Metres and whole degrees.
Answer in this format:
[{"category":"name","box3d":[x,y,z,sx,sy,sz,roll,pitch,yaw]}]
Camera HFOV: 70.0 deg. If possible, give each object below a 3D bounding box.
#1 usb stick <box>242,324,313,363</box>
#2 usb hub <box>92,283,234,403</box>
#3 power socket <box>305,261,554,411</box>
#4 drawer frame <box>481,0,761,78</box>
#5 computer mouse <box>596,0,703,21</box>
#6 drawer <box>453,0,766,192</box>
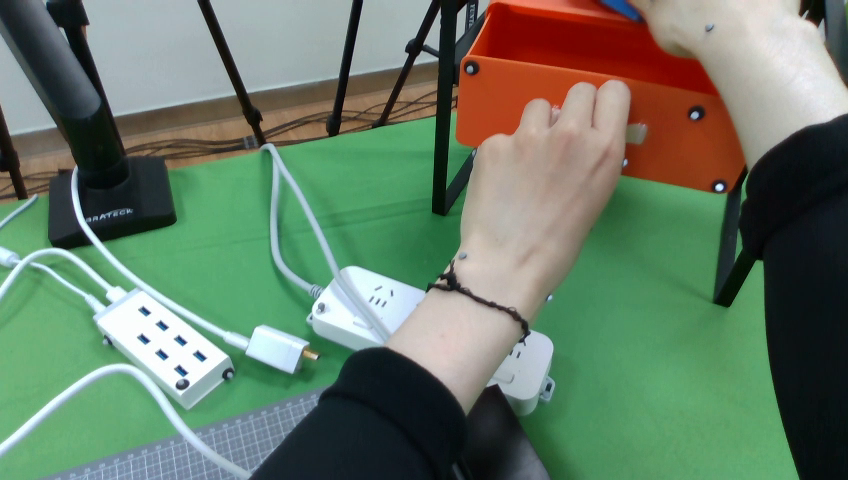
[{"category":"usb stick","box3d":[-0.122,0.089,0.515,0.059,0.021,0.027,14,86,-7]},{"category":"usb hub","box3d":[-0.225,0.085,0.518,0.124,0.025,0.049,29,50,24]},{"category":"power socket","box3d":[0.004,0.080,0.530,0.225,0.033,0.072,19,46,16]},{"category":"drawer frame","box3d":[0.163,-0.204,0.533,0.201,0.083,0.212,10,45,8]},{"category":"computer mouse","box3d":[0.154,-0.201,0.457,0.063,0.041,0.116,-11,39,-19]},{"category":"drawer","box3d":[0.141,-0.143,0.473,0.194,0.074,0.210,12,45,9]}]
